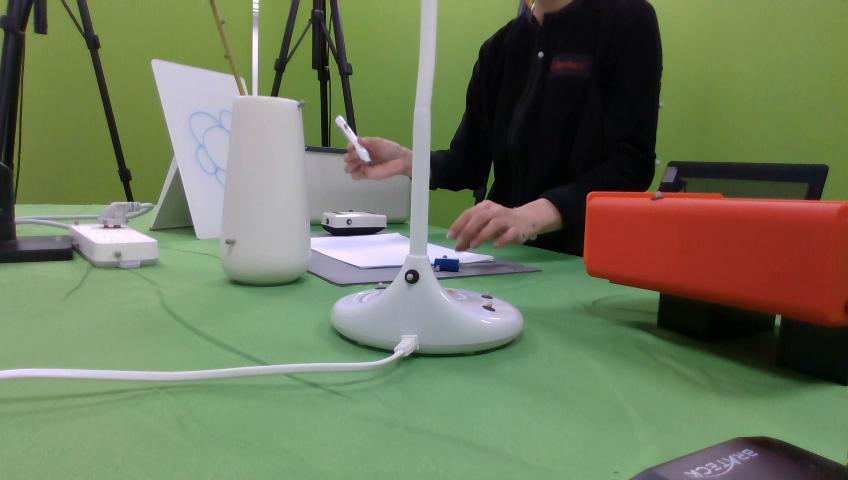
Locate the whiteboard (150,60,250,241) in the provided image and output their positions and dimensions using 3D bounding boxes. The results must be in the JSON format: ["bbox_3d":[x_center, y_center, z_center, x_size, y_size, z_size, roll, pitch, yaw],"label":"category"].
[{"bbox_3d":[-0.408,-0.139,1.093,0.143,0.305,0.218,-15,-1,26],"label":"whiteboard"}]

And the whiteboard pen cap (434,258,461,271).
[{"bbox_3d":[0.030,0.031,0.770,0.033,0.018,0.018,5,8,8],"label":"whiteboard pen cap"}]

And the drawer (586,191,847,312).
[{"bbox_3d":[0.281,0.001,0.513,0.195,0.073,0.210,0,8,-29],"label":"drawer"}]

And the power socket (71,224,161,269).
[{"bbox_3d":[-0.408,0.004,0.793,0.072,0.032,0.225,-2,8,-38],"label":"power socket"}]

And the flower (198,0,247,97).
[{"bbox_3d":[-0.187,-0.133,0.648,0.038,0.362,0.044,-1,21,43],"label":"flower"}]

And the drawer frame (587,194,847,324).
[{"bbox_3d":[0.285,0.004,0.508,0.203,0.082,0.212,-1,6,-30],"label":"drawer frame"}]

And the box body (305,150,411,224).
[{"bbox_3d":[-0.230,-0.126,1.372,0.366,0.160,0.253,-2,9,-33],"label":"box body"}]

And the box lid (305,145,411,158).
[{"bbox_3d":[-0.228,-0.200,1.362,0.373,0.015,0.262,-1,8,-33],"label":"box lid"}]

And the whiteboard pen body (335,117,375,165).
[{"bbox_3d":[-0.117,-0.168,1.030,0.017,0.017,0.140,-4,43,-39],"label":"whiteboard pen body"}]

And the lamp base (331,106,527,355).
[{"bbox_3d":[0.006,-0.012,0.478,0.161,0.180,0.179,2,10,2],"label":"lamp base"}]

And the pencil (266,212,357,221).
[{"bbox_3d":[-0.244,-0.049,1.319,0.195,0.012,0.012,3,7,-12],"label":"pencil"}]

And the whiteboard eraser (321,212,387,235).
[{"bbox_3d":[-0.128,-0.031,1.108,0.113,0.042,0.055,-3,7,-38],"label":"whiteboard eraser"}]

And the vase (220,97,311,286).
[{"bbox_3d":[-0.172,-0.052,0.662,0.098,0.200,0.098,3,8,0],"label":"vase"}]

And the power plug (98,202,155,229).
[{"bbox_3d":[-0.416,-0.027,0.848,0.073,0.052,0.035,0,8,-28],"label":"power plug"}]
